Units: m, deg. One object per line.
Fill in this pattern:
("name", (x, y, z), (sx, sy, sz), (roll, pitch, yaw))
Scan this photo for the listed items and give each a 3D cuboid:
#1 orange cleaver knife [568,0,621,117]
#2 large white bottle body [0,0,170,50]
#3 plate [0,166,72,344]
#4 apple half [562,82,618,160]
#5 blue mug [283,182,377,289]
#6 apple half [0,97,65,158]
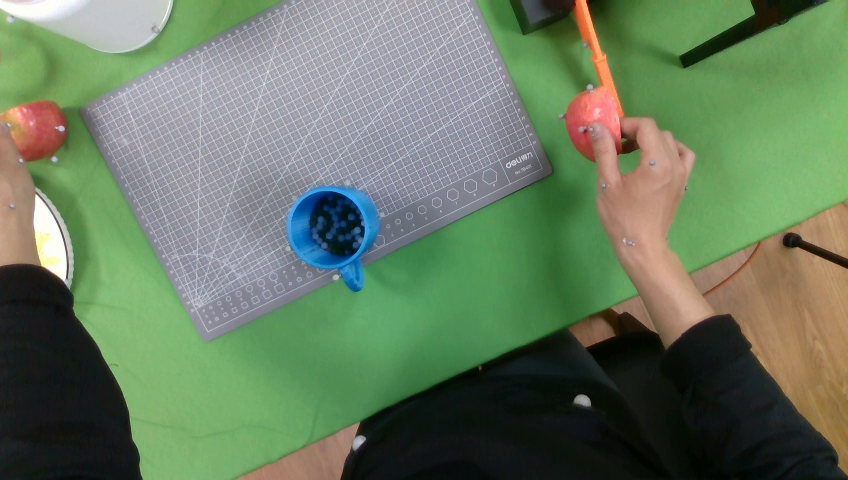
("orange cleaver knife", (0.165, -0.227, 0.632), (0.012, 0.076, 0.213), (-23, 122, 11))
("large white bottle body", (-0.343, -0.267, 0.579), (0.130, 0.184, 0.130), (0, 95, 1))
("plate", (-0.499, 0.014, 0.684), (0.209, 0.038, 0.209), (0, 97, 0))
("apple half", (0.158, -0.114, 0.599), (0.033, 0.081, 0.081), (-16, 96, -14))
("blue mug", (-0.091, -0.004, 0.644), (0.082, 0.105, 0.117), (-18, 96, 2))
("apple half", (-0.428, -0.116, 0.653), (0.081, 0.074, 0.053), (-22, 102, -1))
